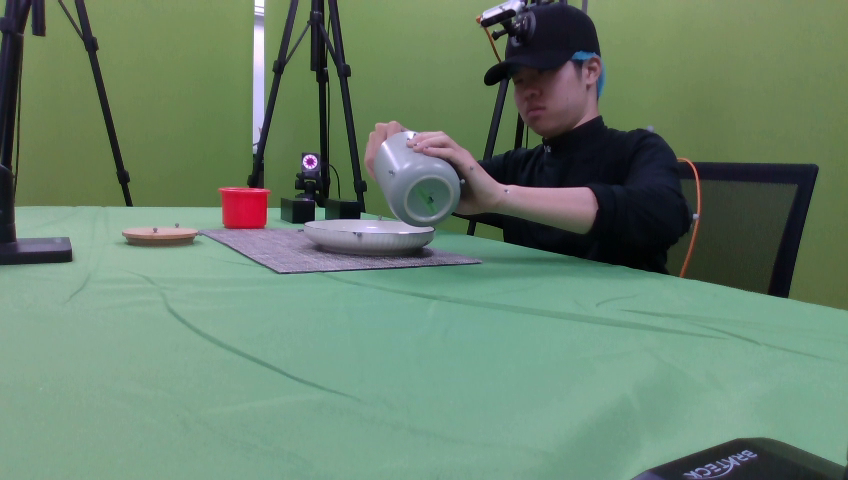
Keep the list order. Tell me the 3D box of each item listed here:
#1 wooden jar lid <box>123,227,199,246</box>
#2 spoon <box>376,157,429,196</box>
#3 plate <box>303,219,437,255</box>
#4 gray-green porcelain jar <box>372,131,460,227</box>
[{"bbox_3d":[-0.408,-0.006,0.942,0.108,0.020,0.108,3,6,0],"label":"wooden jar lid"},{"bbox_3d":[-0.041,-0.099,0.915,0.042,0.021,0.193,9,13,-27],"label":"spoon"},{"bbox_3d":[-0.084,-0.005,0.952,0.208,0.039,0.207,3,7,0],"label":"plate"},{"bbox_3d":[-0.011,-0.086,0.868,0.106,0.106,0.126,0,30,-18],"label":"gray-green porcelain jar"}]
